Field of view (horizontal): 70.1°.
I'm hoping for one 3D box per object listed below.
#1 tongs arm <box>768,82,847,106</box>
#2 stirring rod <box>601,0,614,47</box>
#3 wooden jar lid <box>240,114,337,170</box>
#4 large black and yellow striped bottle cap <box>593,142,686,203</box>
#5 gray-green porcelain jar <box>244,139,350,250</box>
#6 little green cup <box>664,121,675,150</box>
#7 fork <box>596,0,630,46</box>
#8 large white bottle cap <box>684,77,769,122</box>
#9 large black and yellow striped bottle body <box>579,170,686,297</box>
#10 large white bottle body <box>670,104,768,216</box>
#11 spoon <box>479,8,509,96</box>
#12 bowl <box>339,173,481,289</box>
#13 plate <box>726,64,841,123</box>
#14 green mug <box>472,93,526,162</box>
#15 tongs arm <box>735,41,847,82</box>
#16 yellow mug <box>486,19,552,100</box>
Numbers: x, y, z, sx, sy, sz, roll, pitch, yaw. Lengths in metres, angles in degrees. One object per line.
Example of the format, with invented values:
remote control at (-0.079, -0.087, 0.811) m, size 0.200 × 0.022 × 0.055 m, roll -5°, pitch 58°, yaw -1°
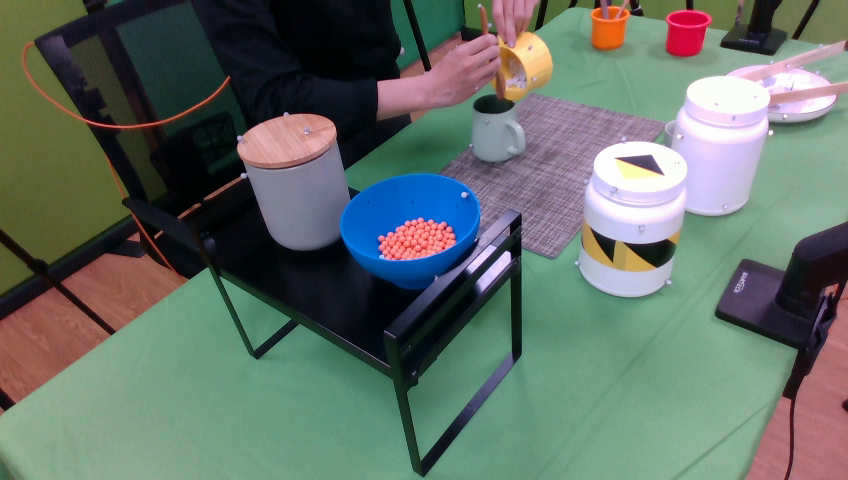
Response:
tongs arm at (0.738, -0.282, 1.134) m, size 0.388 × 0.028 × 0.028 m, roll -9°, pitch 46°, yaw -5°
stirring rod at (0.439, -0.552, 1.463) m, size 0.014 × 0.006 × 0.175 m, roll -7°, pitch 83°, yaw 2°
wooden jar lid at (-0.149, -0.106, 0.673) m, size 0.108 × 0.021 × 0.108 m, roll -6°, pitch 39°, yaw 5°
large black and yellow striped bottle cap at (0.280, -0.090, 0.786) m, size 0.115 × 0.019 × 0.114 m, roll -5°, pitch 41°, yaw 5°
gray-green porcelain jar at (-0.143, -0.060, 0.714) m, size 0.106 × 0.127 × 0.105 m, roll -4°, pitch 41°, yaw 4°
little green cup at (0.472, -0.188, 1.113) m, size 0.061 × 0.039 × 0.061 m, roll -5°, pitch 40°, yaw 4°
fork at (0.481, -0.556, 1.452) m, size 0.028 × 0.019 × 0.207 m, roll 40°, pitch 103°, yaw 38°
large white bottle cap at (0.448, -0.210, 0.898) m, size 0.115 × 0.018 × 0.114 m, roll -4°, pitch 40°, yaw 4°
large black and yellow striped bottle body at (0.287, -0.027, 0.841) m, size 0.131 × 0.185 × 0.130 m, roll -4°, pitch 40°, yaw 4°
large white bottle body at (0.458, -0.146, 0.953) m, size 0.130 × 0.185 × 0.130 m, roll -4°, pitch 40°, yaw 4°
spoon at (0.115, -0.307, 1.002) m, size 0.021 × 0.195 × 0.041 m, roll -21°, pitch 60°, yaw 13°
bowl at (-0.011, 0.001, 0.660) m, size 0.151 × 0.077 × 0.150 m, roll -5°, pitch 41°, yaw 5°
plate at (0.695, -0.283, 1.189) m, size 0.207 × 0.039 × 0.206 m, roll -4°, pitch 40°, yaw 4°
green mug at (0.144, -0.202, 1.122) m, size 0.093 × 0.105 × 0.124 m, roll -29°, pitch 45°, yaw -23°
tongs arm at (0.712, -0.332, 1.194) m, size 0.386 × 0.026 × 0.050 m, roll -18°, pitch 45°, yaw -16°
yellow mug at (0.162, -0.320, 1.065) m, size 0.064 × 0.131 × 0.099 m, roll -34°, pitch 27°, yaw -27°
